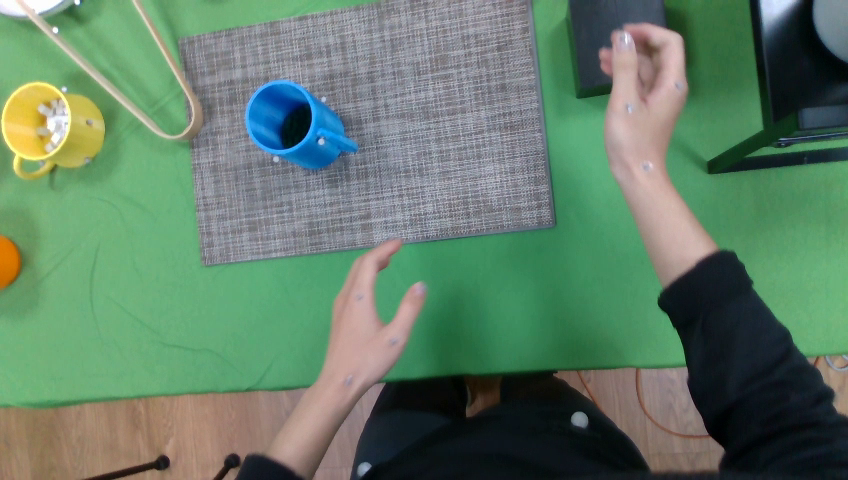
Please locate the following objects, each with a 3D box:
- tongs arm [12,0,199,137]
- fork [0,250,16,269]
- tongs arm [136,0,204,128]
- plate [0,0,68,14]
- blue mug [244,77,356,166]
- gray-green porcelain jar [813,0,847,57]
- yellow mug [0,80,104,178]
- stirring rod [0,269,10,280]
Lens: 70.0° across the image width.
[{"bbox_3d":[-0.447,-0.263,0.778,0.385,0.026,0.051,45,92,-1],"label":"tongs arm"},{"bbox_3d":[-0.643,0.018,0.768,0.209,0.018,0.028,7,89,-35],"label":"fork"},{"bbox_3d":[-0.383,-0.317,0.772,0.028,0.028,0.387,-31,92,-2],"label":"tongs arm"},{"bbox_3d":[-0.523,-0.402,0.810,0.207,0.039,0.207,0,90,9],"label":"plate"},{"bbox_3d":[-0.135,-0.131,0.711,0.116,0.106,0.082,19,92,9],"label":"blue mug"},{"bbox_3d":[0.364,-0.196,0.447,0.105,0.127,0.106,0,89,9],"label":"gray-green porcelain jar"},{"bbox_3d":[-0.492,-0.137,0.789,0.099,0.064,0.131,32,95,7],"label":"yellow mug"},{"bbox_3d":[-0.632,0.035,0.769,0.006,0.177,0.014,-19,67,51],"label":"stirring rod"}]
